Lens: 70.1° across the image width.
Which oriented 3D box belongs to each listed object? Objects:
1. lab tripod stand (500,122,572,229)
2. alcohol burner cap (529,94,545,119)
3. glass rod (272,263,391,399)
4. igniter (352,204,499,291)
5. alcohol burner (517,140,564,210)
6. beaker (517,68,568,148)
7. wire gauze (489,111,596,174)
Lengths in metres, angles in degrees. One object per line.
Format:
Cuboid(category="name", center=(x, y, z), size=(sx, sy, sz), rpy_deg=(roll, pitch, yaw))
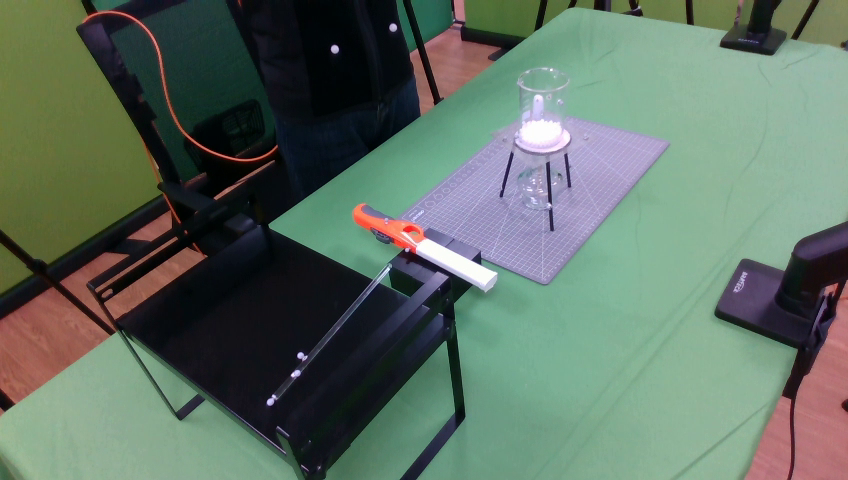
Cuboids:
Cuboid(category="lab tripod stand", center=(0.194, -0.110, 0.985), size=(0.148, 0.132, 0.147), rpy_deg=(-3, 41, 3))
Cuboid(category="alcohol burner cap", center=(0.233, -0.277, 1.247), size=(0.034, 0.048, 0.033), rpy_deg=(-5, 41, 5))
Cuboid(category="glass rod", center=(-0.088, 0.086, 0.618), size=(0.008, 0.008, 0.200), rpy_deg=(17, 45, 26))
Cuboid(category="igniter", center=(-0.009, 0.005, 0.895), size=(0.274, 0.025, 0.057), rpy_deg=(27, 48, 32))
Cuboid(category="alcohol burner", center=(0.193, -0.110, 1.001), size=(0.078, 0.119, 0.077), rpy_deg=(-5, 38, 5))
Cuboid(category="beaker", center=(0.179, -0.198, 0.914), size=(0.073, 0.100, 0.084), rpy_deg=(25, 49, 31))
Cuboid(category="wire gauze", center=(0.183, -0.159, 0.943), size=(0.122, 0.011, 0.124), rpy_deg=(-25, 47, -17))
